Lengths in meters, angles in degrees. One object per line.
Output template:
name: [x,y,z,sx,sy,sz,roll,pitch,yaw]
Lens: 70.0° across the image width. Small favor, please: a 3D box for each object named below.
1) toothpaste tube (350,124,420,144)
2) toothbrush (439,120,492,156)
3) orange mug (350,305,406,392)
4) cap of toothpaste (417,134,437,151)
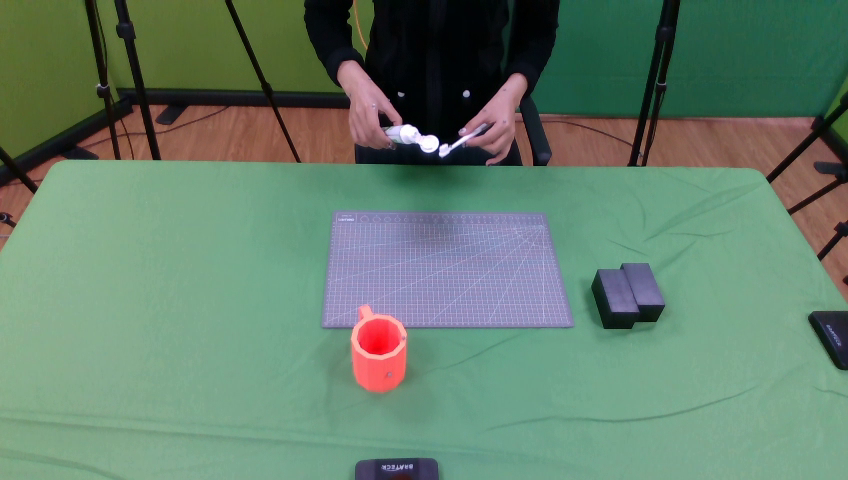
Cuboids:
toothpaste tube: [-0.068,-0.199,1.138,0.055,0.034,0.164,7,2,-45]
toothbrush: [0.079,-0.194,1.129,0.014,0.017,0.181,12,33,33]
orange mug: [-0.080,0.168,0.978,0.083,0.101,0.125,-16,54,-18]
cap of toothpaste: [0.005,-0.177,1.091,0.037,0.011,0.037,-5,67,13]
